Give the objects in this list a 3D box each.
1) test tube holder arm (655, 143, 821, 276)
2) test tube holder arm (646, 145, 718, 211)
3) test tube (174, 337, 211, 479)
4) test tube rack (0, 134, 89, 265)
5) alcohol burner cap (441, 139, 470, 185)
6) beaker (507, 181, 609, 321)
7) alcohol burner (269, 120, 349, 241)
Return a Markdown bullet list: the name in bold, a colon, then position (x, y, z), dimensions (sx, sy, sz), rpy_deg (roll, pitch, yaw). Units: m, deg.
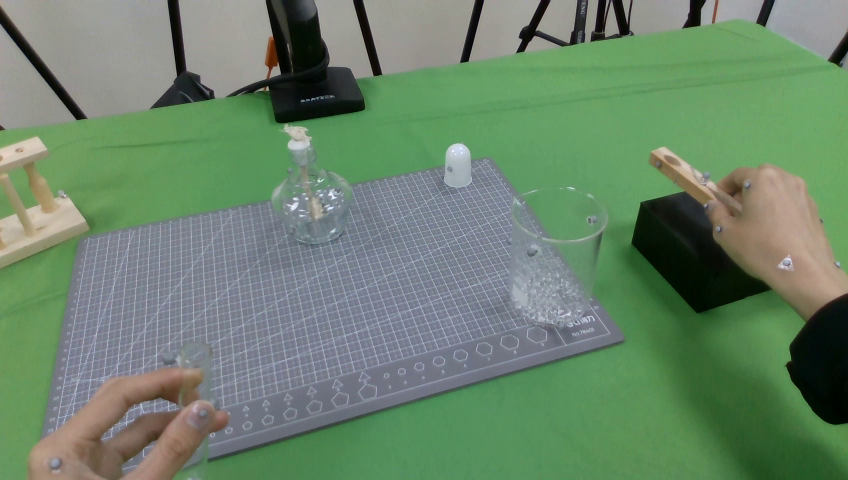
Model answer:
- **test tube holder arm**: position (0.254, -0.032, 0.507), dimensions (0.013, 0.015, 0.176), rpy_deg (-27, 47, -10)
- **test tube holder arm**: position (0.229, -0.056, 0.535), dimensions (0.010, 0.015, 0.087), rpy_deg (-26, 47, -10)
- **test tube**: position (-0.127, 0.114, 0.333), dimensions (0.017, 0.151, 0.017), rpy_deg (10, 31, -6)
- **test tube rack**: position (-0.462, -0.007, 0.563), dimensions (0.242, 0.086, 0.066), rpy_deg (-30, 48, -29)
- **alcohol burner cap**: position (0.034, -0.088, 0.665), dimensions (0.034, 0.048, 0.033), rpy_deg (-1, 41, 1)
- **beaker**: position (0.104, 0.011, 0.502), dimensions (0.083, 0.101, 0.074), rpy_deg (31, 51, 33)
- **alcohol burner**: position (-0.113, -0.059, 0.582), dimensions (0.078, 0.120, 0.077), rpy_deg (-3, 40, 2)
